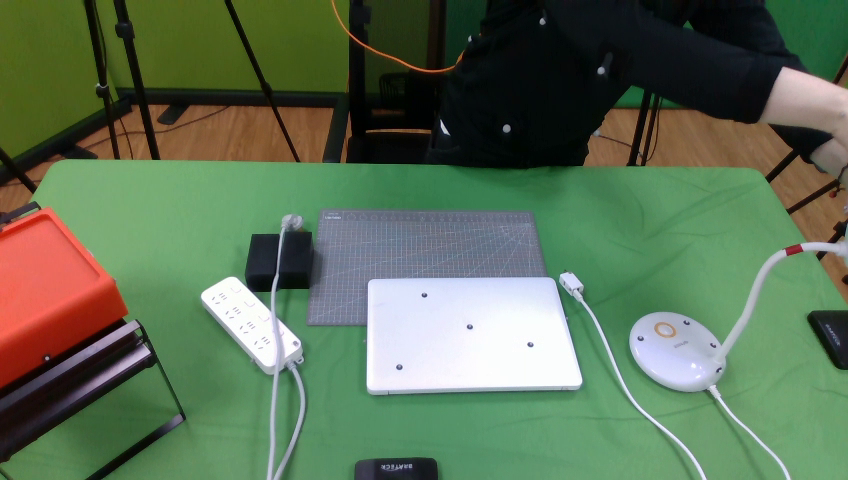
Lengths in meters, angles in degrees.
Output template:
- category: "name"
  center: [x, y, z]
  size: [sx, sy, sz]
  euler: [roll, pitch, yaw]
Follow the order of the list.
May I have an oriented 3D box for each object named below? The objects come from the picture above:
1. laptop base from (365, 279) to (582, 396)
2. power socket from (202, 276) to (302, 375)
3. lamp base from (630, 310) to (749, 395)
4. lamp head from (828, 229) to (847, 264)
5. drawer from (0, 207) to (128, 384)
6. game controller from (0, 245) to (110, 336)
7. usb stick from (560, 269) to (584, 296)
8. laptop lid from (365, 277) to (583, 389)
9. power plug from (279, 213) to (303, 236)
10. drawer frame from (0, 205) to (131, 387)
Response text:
- category: "laptop base"
  center: [0.077, 0.162, 1.053]
  size: [0.355, 0.023, 0.234]
  euler: [0, 44, -4]
- category: "power socket"
  center: [-0.296, 0.142, 1.034]
  size: [0.072, 0.033, 0.225]
  euler: [-34, 58, -31]
- category: "lamp base"
  center: [0.447, 0.143, 0.984]
  size: [0.161, 0.181, 0.178]
  euler: [-24, 55, -24]
- category: "lamp head"
  center: [0.577, -0.002, 0.752]
  size: [0.112, 0.123, 0.111]
  euler: [1, 48, -1]
- category: "drawer"
  center: [-0.540, 0.074, 0.799]
  size: [0.193, 0.073, 0.211]
  euler: [37, 55, 27]
- category: "game controller"
  center: [-0.511, 0.062, 0.830]
  size: [0.097, 0.052, 0.154]
  euler: [-30, 58, -31]
- category: "usb stick"
  center: [0.275, 0.077, 1.142]
  size: [0.027, 0.021, 0.059]
  euler: [-12, 39, -13]
- category: "laptop lid"
  center: [0.077, 0.152, 1.046]
  size: [0.357, 0.013, 0.240]
  euler: [1, 45, -3]
- category: "power plug"
  center: [-0.264, -0.022, 1.184]
  size: [0.035, 0.053, 0.072]
  euler: [2, 48, 32]
- category: "drawer frame"
  center: [-0.539, 0.076, 0.795]
  size: [0.200, 0.083, 0.213]
  euler: [36, 54, 26]
